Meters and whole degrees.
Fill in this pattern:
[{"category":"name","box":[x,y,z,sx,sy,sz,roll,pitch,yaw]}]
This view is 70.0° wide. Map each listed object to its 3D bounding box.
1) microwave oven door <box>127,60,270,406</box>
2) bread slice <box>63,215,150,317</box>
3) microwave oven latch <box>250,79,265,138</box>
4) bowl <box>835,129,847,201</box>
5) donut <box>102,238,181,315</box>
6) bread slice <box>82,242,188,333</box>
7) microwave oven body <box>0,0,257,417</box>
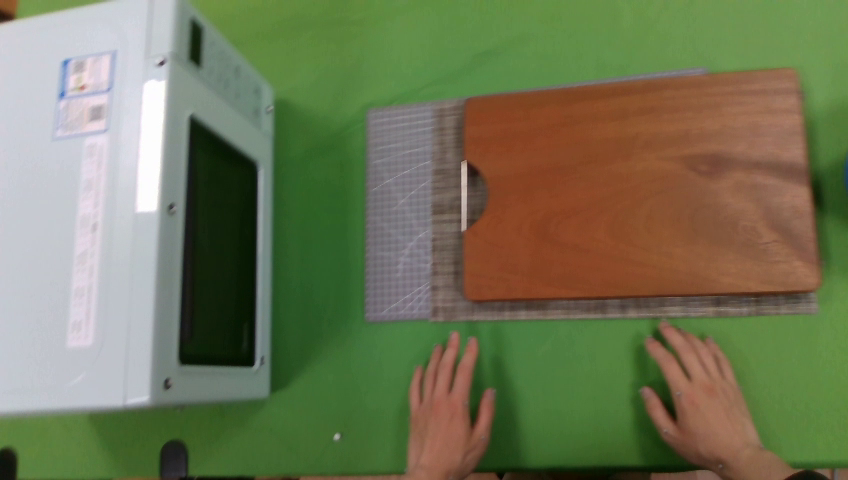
[{"category":"microwave oven door","box":[-0.253,0.007,0.711,0.039,0.245,0.354,-7,77,11]},{"category":"bread slice","box":[-0.379,0.040,0.721,0.134,0.018,0.106,-16,77,22]},{"category":"microwave oven latch","box":[-0.242,-0.184,0.854,0.030,0.030,0.079,-6,78,11]},{"category":"bowl","box":[0.523,-0.074,0.661,0.151,0.077,0.150,-2,78,12]},{"category":"donut","box":[-0.357,0.046,0.764,0.099,0.048,0.099,0,94,1]},{"category":"bread slice","box":[-0.385,0.058,0.794,0.131,0.019,0.104,12,85,9]},{"category":"microwave oven body","box":[-0.397,-0.017,0.752,0.325,0.262,0.439,-6,78,11]}]
